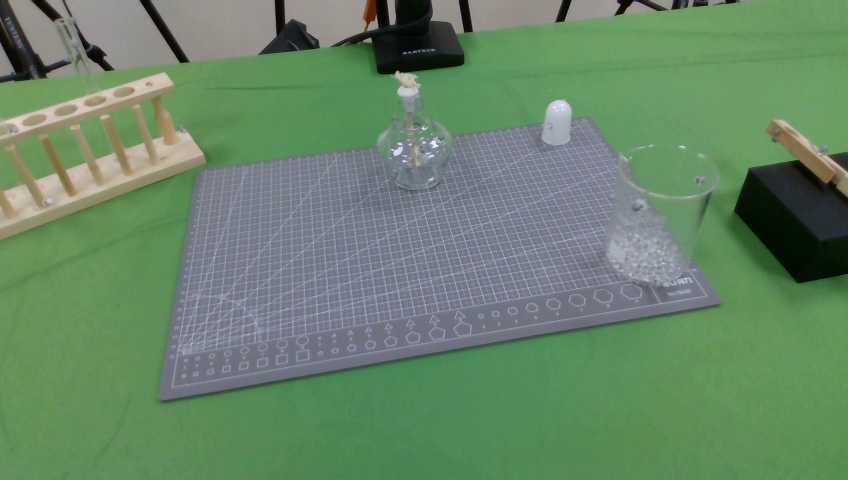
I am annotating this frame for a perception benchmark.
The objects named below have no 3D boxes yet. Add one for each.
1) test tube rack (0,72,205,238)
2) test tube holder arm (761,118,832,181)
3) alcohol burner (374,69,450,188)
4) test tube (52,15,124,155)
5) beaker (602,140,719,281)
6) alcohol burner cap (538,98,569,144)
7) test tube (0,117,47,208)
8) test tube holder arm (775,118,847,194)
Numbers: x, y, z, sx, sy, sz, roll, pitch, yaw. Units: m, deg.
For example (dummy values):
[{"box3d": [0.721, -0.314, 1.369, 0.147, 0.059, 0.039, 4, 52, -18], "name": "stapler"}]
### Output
[{"box3d": [-0.364, -0.086, 0.622, 0.242, 0.086, 0.066, -26, 48, -22], "name": "test tube rack"}, {"box3d": [0.339, -0.084, 0.550, 0.010, 0.015, 0.087, -5, 42, -14], "name": "test tube holder arm"}, {"box3d": [-0.013, -0.112, 0.602, 0.078, 0.120, 0.077, -3, 42, 3], "name": "alcohol burner"}, {"box3d": [-0.339, -0.152, 0.617, 0.017, 0.151, 0.017, -1, 40, 2], "name": "test tube"}, {"box3d": [0.187, -0.022, 0.503, 0.074, 0.101, 0.083, -30, 48, -25], "name": "beaker"}, {"box3d": [0.144, -0.134, 0.667, 0.034, 0.048, 0.033, -2, 43, 2], "name": "alcohol burner cap"}, {"box3d": [-0.392, -0.092, 0.564, 0.017, 0.152, 0.017, -1, 41, 2], "name": "test tube"}, {"box3d": [0.355, -0.055, 0.519, 0.013, 0.015, 0.176, -5, 43, -14], "name": "test tube holder arm"}]
